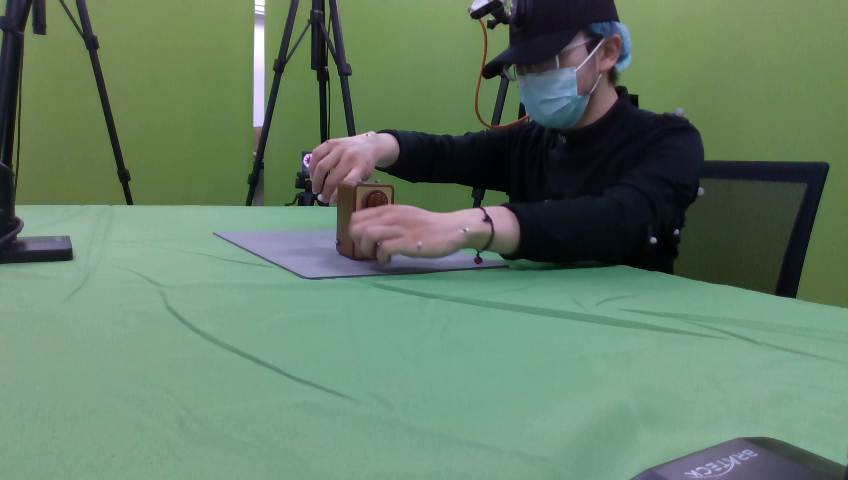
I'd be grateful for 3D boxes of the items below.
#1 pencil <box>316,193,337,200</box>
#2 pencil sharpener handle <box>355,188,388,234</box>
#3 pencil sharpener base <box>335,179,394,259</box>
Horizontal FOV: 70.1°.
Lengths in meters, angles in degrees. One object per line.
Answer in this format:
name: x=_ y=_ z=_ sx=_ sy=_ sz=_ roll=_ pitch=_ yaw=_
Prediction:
pencil: x=-0.134 y=-0.067 z=0.947 sx=0.012 sy=0.012 sz=0.193 roll=-2 pitch=5 yaw=-28
pencil sharpener handle: x=-0.067 y=-0.037 z=0.803 sx=0.036 sy=0.068 sz=0.030 roll=34 pitch=-9 yaw=-28
pencil sharpener base: x=-0.084 y=-0.030 z=0.853 sx=0.061 sy=0.107 sz=0.076 roll=-1 pitch=8 yaw=-28
